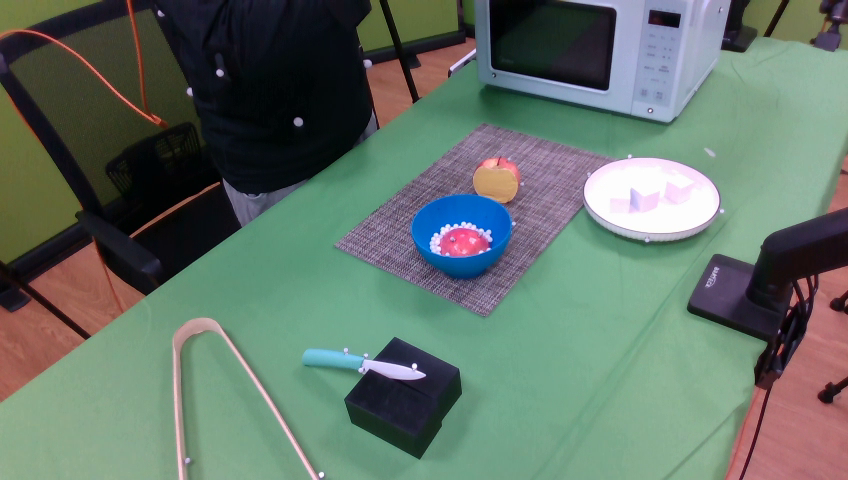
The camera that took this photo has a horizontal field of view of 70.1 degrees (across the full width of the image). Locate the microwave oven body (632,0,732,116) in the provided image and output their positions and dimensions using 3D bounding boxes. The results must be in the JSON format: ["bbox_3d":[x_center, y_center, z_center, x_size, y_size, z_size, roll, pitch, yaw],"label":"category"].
[{"bbox_3d":[0.377,-0.463,1.267,0.438,0.261,0.327,21,48,30],"label":"microwave oven body"}]

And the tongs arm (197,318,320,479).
[{"bbox_3d":[-0.200,0.207,0.750,0.028,0.028,0.384,-31,45,-22],"label":"tongs arm"}]

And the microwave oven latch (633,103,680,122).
[{"bbox_3d":[0.443,-0.249,1.157,0.078,0.029,0.030,20,48,30],"label":"microwave oven latch"}]

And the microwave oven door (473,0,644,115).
[{"bbox_3d":[0.257,-0.396,1.199,0.353,0.245,0.039,21,48,29],"label":"microwave oven door"}]

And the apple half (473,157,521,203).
[{"bbox_3d":[0.128,-0.107,1.030,0.080,0.075,0.053,4,38,19],"label":"apple half"}]

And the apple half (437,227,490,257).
[{"bbox_3d":[0.056,0.002,0.902,0.081,0.033,0.081,-3,42,3],"label":"apple half"}]

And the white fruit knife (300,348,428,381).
[{"bbox_3d":[-0.080,0.154,0.748,0.206,0.027,0.016,1,20,34],"label":"white fruit knife"}]

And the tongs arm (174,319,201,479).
[{"bbox_3d":[-0.272,0.234,0.723,0.051,0.026,0.381,-19,40,-15],"label":"tongs arm"}]

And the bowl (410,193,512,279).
[{"bbox_3d":[0.058,0.005,0.905,0.151,0.077,0.150,-4,40,4],"label":"bowl"}]

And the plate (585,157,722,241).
[{"bbox_3d":[0.367,-0.063,0.979,0.207,0.039,0.206,-4,41,4],"label":"plate"}]
